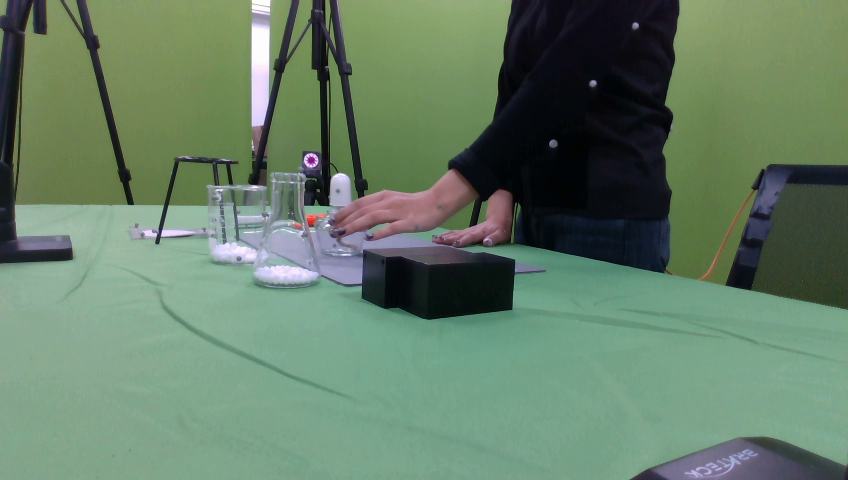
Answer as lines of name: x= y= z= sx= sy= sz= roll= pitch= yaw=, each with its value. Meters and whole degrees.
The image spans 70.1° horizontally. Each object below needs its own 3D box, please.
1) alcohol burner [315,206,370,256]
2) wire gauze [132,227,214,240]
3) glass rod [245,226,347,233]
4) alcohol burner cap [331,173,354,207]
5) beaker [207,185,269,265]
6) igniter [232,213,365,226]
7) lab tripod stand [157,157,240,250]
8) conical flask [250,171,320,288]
alcohol burner: x=-0.117 y=-0.037 z=0.868 sx=0.078 sy=0.119 sz=0.078 roll=0 pitch=7 yaw=0
wire gauze: x=-0.425 y=-0.013 z=1.018 sx=0.122 sy=0.011 sz=0.124 roll=-1 pitch=6 yaw=-28
glass rod: x=-0.237 y=-0.021 z=1.141 sx=0.201 sy=0.008 sz=0.008 roll=-3 pitch=8 yaw=-32
alcohol burner cap: x=-0.117 y=-0.072 z=0.863 sx=0.034 sy=0.048 sz=0.034 roll=0 pitch=15 yaw=0
beaker: x=-0.244 y=-0.021 z=0.784 sx=0.083 sy=0.100 sz=0.074 roll=6 pitch=8 yaw=30
igniter: x=-0.246 y=-0.042 z=1.223 sx=0.278 sy=0.025 sz=0.057 roll=-3 pitch=-1 yaw=-36
lab tripod stand: x=-0.322 y=-0.057 z=0.905 sx=0.148 sy=0.131 sz=0.148 roll=4 pitch=7 yaw=0
conical flask: x=-0.150 y=-0.013 z=0.658 sx=0.075 sy=0.122 sz=0.075 roll=2 pitch=7 yaw=0
